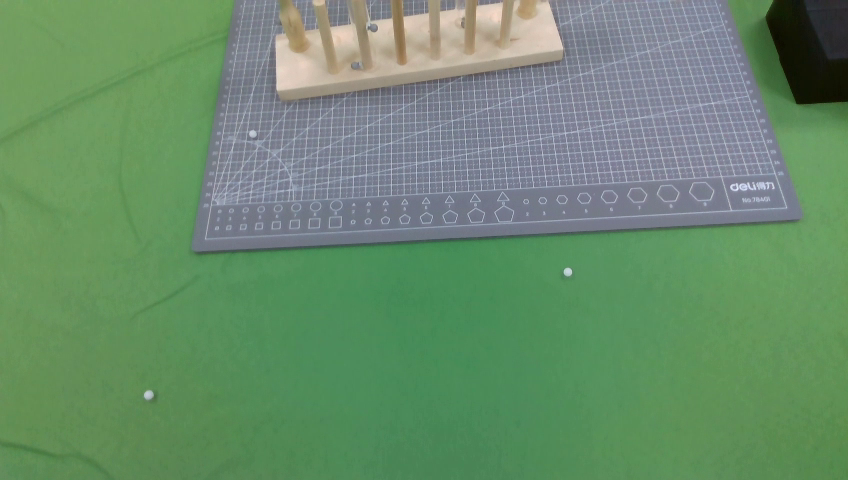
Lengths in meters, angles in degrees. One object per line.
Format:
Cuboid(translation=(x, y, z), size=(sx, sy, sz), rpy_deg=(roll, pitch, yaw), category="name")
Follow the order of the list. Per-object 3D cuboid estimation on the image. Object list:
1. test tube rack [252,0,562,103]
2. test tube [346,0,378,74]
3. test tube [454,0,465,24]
Cuboid(translation=(-0.009, -0.183, 0.496), size=(0.242, 0.086, 0.066), rpy_deg=(-8, 62, 0), category="test tube rack")
Cuboid(translation=(-0.051, -0.182, 0.448), size=(0.017, 0.152, 0.017), rpy_deg=(-2, 60, 4), category="test tube")
Cuboid(translation=(0.028, -0.230, 0.462), size=(0.017, 0.151, 0.017), rpy_deg=(-3, 57, 5), category="test tube")
